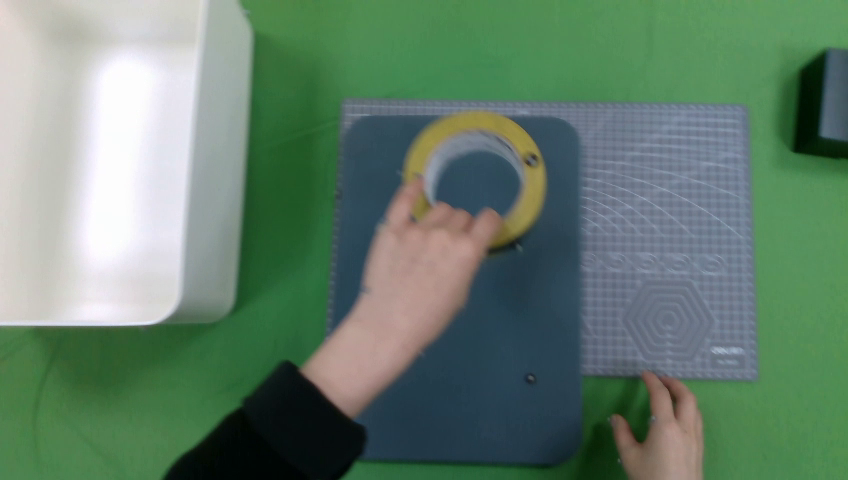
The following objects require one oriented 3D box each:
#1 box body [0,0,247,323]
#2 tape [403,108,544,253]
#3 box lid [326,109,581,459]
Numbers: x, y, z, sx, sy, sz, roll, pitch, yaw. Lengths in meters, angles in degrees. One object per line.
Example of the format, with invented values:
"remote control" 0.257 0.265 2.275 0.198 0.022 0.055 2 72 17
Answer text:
"box body" -0.322 -0.099 0.599 0.254 0.161 0.362 0 82 1
"tape" 0.043 -0.046 0.494 0.116 0.053 0.116 -1 83 9
"box lid" 0.033 0.037 0.643 0.263 0.015 0.370 1 82 1
